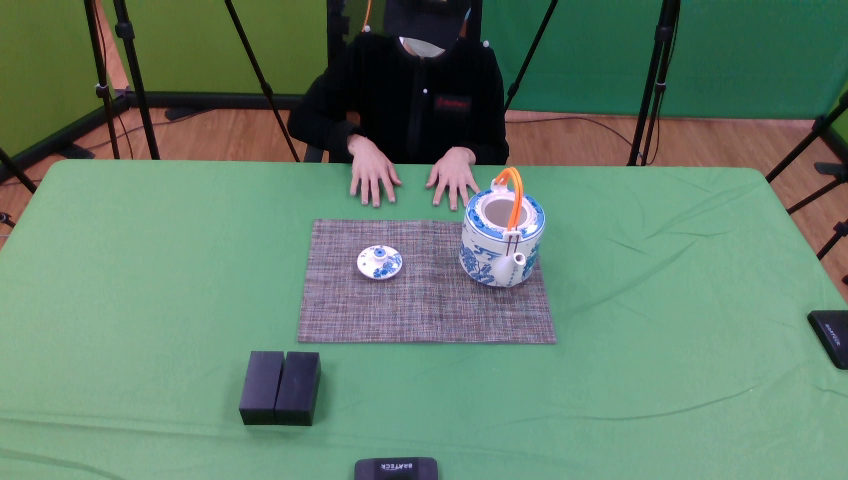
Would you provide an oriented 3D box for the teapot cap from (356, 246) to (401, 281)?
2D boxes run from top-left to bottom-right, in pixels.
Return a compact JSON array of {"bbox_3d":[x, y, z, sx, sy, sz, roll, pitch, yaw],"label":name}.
[{"bbox_3d":[-0.085,0.039,1.135,0.085,0.044,0.084,4,46,-4],"label":"teapot cap"}]

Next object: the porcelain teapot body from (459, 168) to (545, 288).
[{"bbox_3d":[0.146,-0.006,1.070,0.145,0.226,0.204,-4,46,-8],"label":"porcelain teapot body"}]
